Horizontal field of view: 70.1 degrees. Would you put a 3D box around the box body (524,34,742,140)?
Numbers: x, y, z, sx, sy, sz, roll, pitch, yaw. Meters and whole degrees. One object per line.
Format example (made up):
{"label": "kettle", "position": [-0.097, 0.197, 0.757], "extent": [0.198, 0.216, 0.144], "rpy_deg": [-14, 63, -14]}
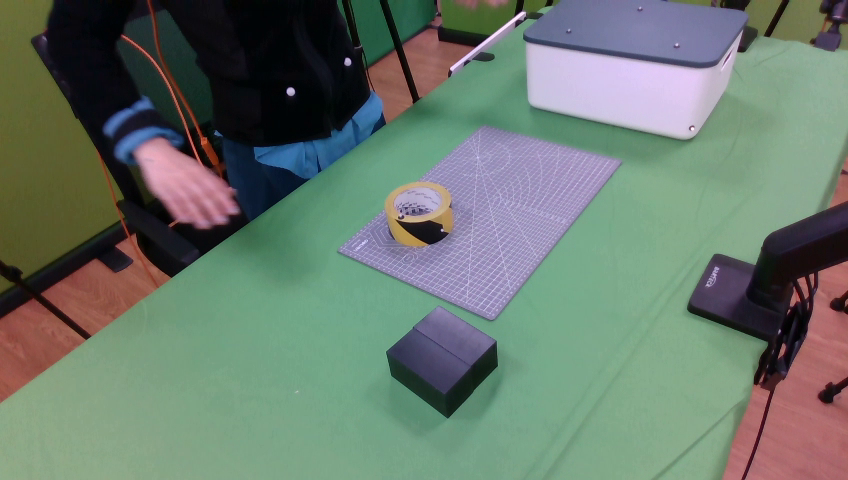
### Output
{"label": "box body", "position": [0.412, -0.355, 1.212], "extent": [0.361, 0.161, 0.255], "rpy_deg": [20, 48, 29]}

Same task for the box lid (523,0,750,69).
{"label": "box lid", "position": [0.405, -0.409, 1.163], "extent": [0.368, 0.015, 0.264], "rpy_deg": [20, 47, 29]}

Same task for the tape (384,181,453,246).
{"label": "tape", "position": [-0.009, -0.045, 0.994], "extent": [0.117, 0.053, 0.116], "rpy_deg": [-4, 40, 4]}
